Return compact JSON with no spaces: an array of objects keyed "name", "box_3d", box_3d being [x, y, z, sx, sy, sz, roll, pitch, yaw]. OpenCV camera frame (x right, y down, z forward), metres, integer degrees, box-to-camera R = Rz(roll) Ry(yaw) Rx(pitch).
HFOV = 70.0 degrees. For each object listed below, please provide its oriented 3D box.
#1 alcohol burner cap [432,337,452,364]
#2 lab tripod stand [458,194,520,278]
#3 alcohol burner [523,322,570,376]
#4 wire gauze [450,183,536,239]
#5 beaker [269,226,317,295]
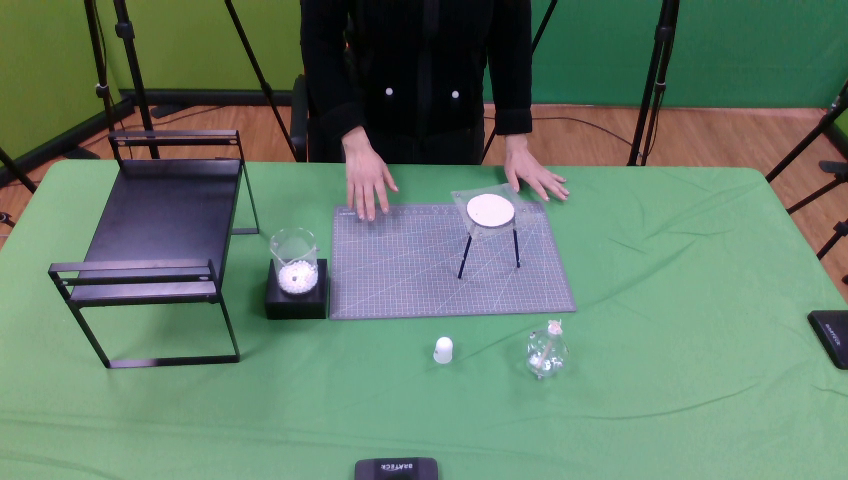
[{"name":"alcohol burner cap","box_3d":[0.031,0.182,1.011,0.034,0.048,0.033,4,45,-3]},{"name":"lab tripod stand","box_3d":[0.115,-0.011,1.135,0.148,0.132,0.147,1,45,-1]},{"name":"alcohol burner","box_3d":[0.203,0.169,0.986,0.078,0.119,0.077,3,47,-3]},{"name":"wire gauze","box_3d":[0.122,-0.057,1.087,0.121,0.011,0.124,-12,47,-14]},{"name":"beaker","box_3d":[-0.218,0.040,1.020,0.074,0.101,0.083,6,47,2]}]
